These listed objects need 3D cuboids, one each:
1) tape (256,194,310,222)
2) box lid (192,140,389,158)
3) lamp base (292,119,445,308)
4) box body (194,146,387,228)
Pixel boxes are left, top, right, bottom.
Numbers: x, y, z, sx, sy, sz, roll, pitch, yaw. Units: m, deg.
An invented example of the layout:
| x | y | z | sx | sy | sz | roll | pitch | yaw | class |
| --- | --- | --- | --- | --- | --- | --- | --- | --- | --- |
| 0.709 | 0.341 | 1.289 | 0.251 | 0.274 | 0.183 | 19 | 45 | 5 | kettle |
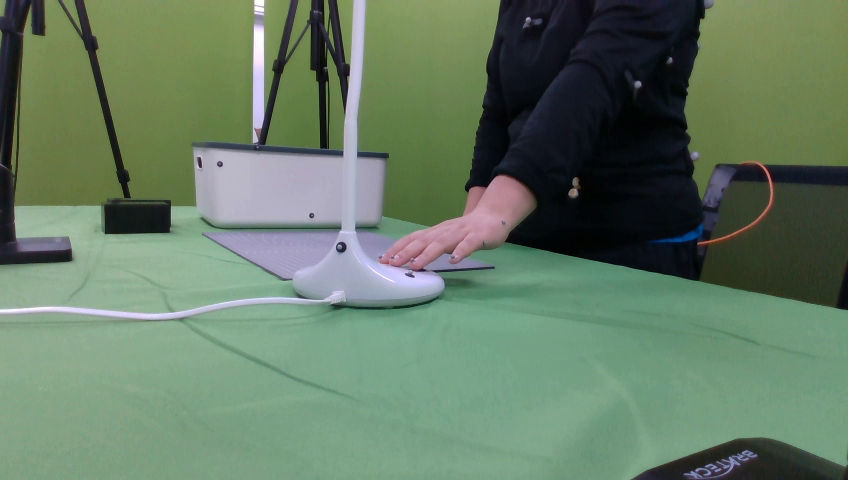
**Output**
| x | y | z | sx | sy | sz | roll | pitch | yaw | class |
| --- | --- | --- | --- | --- | --- | --- | --- | --- | --- |
| -0.301 | -0.069 | 1.294 | 0.117 | 0.052 | 0.117 | 2 | 7 | 0 | tape |
| -0.287 | -0.190 | 1.281 | 0.373 | 0.015 | 0.262 | 0 | 8 | -28 | box lid |
| -0.057 | -0.030 | 0.616 | 0.160 | 0.180 | 0.179 | 3 | 10 | 8 | lamp base |
| -0.288 | -0.118 | 1.291 | 0.366 | 0.160 | 0.253 | -1 | 8 | -28 | box body |
